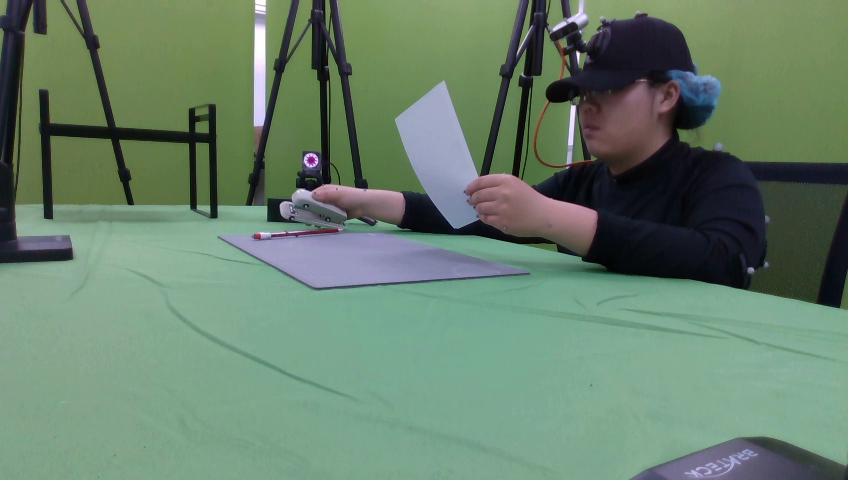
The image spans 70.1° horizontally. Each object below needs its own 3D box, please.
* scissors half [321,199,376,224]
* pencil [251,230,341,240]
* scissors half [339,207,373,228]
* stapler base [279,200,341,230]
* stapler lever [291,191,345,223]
[{"bbox_3d":[-0.189,-0.073,1.334,0.175,0.013,0.040,22,12,-10],"label":"scissors half"},{"bbox_3d":[-0.215,-0.011,1.049,0.012,0.012,0.195,9,9,39],"label":"pencil"},{"bbox_3d":[-0.191,-0.068,1.314,0.175,0.013,0.040,26,17,7],"label":"scissors half"},{"bbox_3d":[-0.213,-0.050,1.161,0.131,0.041,0.024,17,-40,-38],"label":"stapler base"},{"bbox_3d":[-0.198,-0.063,1.148,0.119,0.026,0.040,15,-39,-37],"label":"stapler lever"}]
